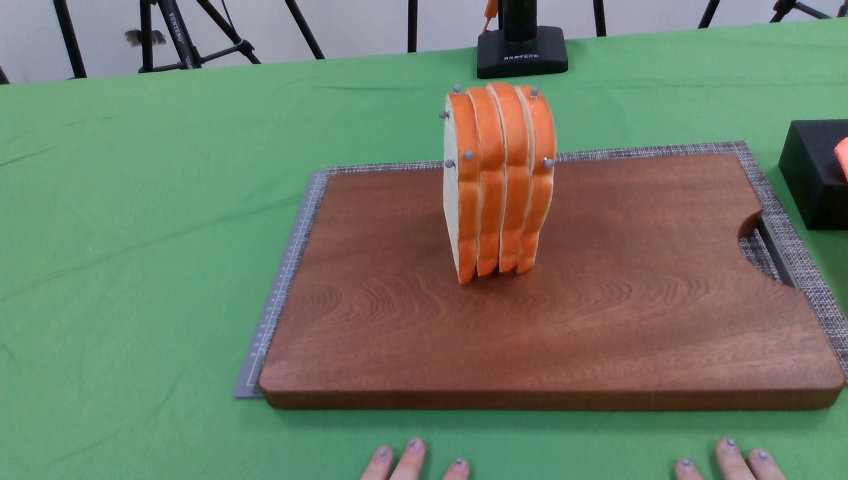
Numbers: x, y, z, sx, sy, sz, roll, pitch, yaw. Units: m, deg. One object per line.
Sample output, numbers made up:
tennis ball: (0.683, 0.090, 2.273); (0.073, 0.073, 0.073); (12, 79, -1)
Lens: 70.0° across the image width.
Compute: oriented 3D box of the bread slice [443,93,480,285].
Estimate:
bread slice: (0.029, -0.049, 0.491); (0.018, 0.135, 0.106); (-5, 38, -3)

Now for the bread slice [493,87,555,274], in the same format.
bread slice: (0.080, -0.053, 0.488); (0.019, 0.132, 0.104); (-2, 43, -6)

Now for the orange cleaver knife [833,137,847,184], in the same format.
orange cleaver knife: (0.362, -0.002, 0.464); (0.077, 0.012, 0.210); (9, 63, 13)
